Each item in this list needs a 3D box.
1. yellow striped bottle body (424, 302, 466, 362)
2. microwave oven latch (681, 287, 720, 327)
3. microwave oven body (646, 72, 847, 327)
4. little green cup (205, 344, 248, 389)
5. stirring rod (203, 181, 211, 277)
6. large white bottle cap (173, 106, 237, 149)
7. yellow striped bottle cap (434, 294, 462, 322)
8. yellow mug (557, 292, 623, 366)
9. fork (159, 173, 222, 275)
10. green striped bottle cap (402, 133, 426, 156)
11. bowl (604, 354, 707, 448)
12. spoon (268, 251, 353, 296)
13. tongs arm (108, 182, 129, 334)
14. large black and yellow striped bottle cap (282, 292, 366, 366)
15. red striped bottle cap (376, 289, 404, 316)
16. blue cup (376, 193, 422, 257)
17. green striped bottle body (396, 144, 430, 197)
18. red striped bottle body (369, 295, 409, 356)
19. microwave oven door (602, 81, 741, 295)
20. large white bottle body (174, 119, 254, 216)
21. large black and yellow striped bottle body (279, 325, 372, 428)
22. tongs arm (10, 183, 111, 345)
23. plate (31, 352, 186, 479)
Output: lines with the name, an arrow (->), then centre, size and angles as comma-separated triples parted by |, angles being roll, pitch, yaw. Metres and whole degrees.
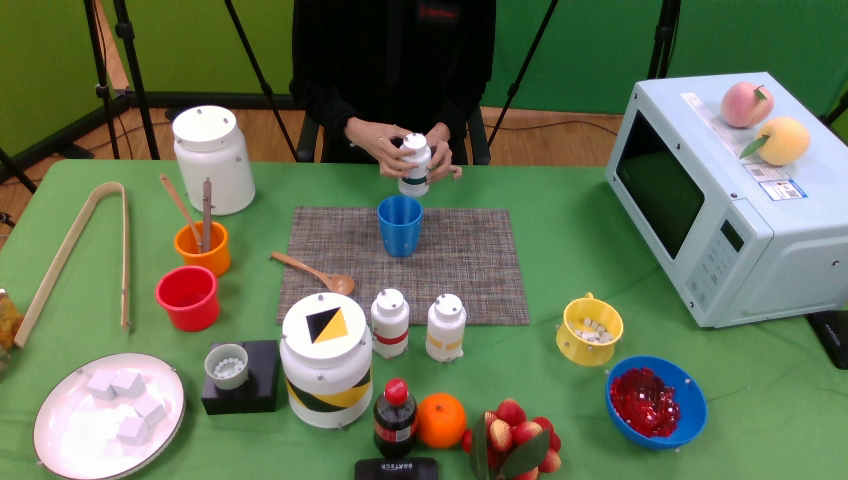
yellow striped bottle body -> 0.035, 0.143, 0.995 | 0.063, 0.121, 0.062 | 3, 46, -2
microwave oven latch -> 0.494, 0.119, 1.087 | 0.030, 0.029, 0.078 | -5, 46, -9
microwave oven body -> 0.607, -0.089, 1.164 | 0.326, 0.261, 0.438 | -7, 46, -10
little green cup -> -0.294, 0.191, 0.909 | 0.061, 0.039, 0.061 | 1, 47, -1
stirring rod -> -0.396, -0.021, 1.108 | 0.014, 0.006, 0.176 | 0, 89, -2
large white bottle cap -> -0.411, -0.212, 1.138 | 0.115, 0.018, 0.114 | 2, 47, -2
yellow striped bottle cap -> 0.038, 0.107, 0.958 | 0.044, 0.019, 0.044 | 2, 45, -2
yellow mug -> 0.285, 0.145, 1.051 | 0.100, 0.064, 0.130 | 7, 45, 4
fork -> -0.427, -0.029, 1.103 | 0.028, 0.018, 0.207 | -31, 99, -30
green striped bottle cap -> -0.018, -0.178, 1.124 | 0.044, 0.020, 0.044 | 1, 53, -1
bowl -> 0.346, 0.261, 0.937 | 0.151, 0.077, 0.150 | 2, 46, -2
spoon -> -0.212, 0.057, 1.121 | 0.193, 0.022, 0.041 | 24, 74, 18
tongs arm -> -0.571, 0.019, 1.123 | 0.051, 0.026, 0.382 | -11, 47, -11
large black and yellow striped bottle cap -> -0.138, 0.121, 0.841 | 0.115, 0.019, 0.114 | 3, 47, -3
red striped bottle cap -> -0.055, 0.098, 0.958 | 0.044, 0.018, 0.044 | 0, 48, 0
blue cup -> -0.047, -0.022, 1.155 | 0.093, 0.101, 0.092 | 1, 47, -1
green striped bottle body -> -0.021, -0.145, 1.167 | 0.063, 0.120, 0.063 | 2, 51, -2
red striped bottle body -> -0.059, 0.134, 0.997 | 0.063, 0.120, 0.062 | 5, 47, -5
microwave oven door -> 0.456, -0.107, 1.162 | 0.039, 0.245, 0.353 | -7, 47, -11
large white bottle body -> -0.415, -0.154, 1.199 | 0.131, 0.185, 0.130 | 2, 46, -2
large black and yellow striped bottle body -> -0.143, 0.181, 0.900 | 0.131, 0.185, 0.130 | 2, 46, -2
tongs arm -> -0.658, 0.027, 1.109 | 0.028, 0.028, 0.385 | -2, 45, 2
plate -> -0.459, 0.262, 0.898 | 0.209, 0.038, 0.208 | 2, 46, -2
